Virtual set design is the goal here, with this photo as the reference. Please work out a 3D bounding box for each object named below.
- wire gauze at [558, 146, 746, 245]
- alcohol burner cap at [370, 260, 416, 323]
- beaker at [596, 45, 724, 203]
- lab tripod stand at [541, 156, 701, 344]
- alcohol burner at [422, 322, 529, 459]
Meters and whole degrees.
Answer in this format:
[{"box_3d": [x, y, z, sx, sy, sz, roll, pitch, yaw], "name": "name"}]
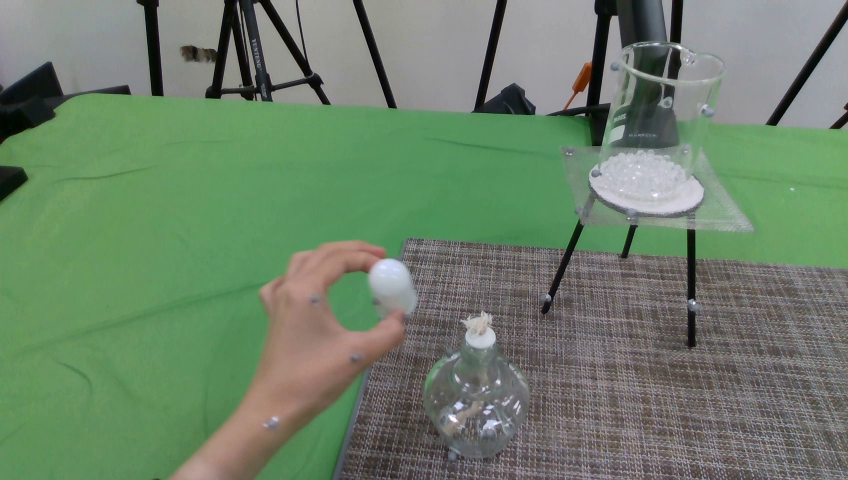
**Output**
[{"box_3d": [0.175, -0.042, 0.482, 0.125, 0.011, 0.120, 4, 40, 0], "name": "wire gauze"}, {"box_3d": [-0.023, 0.033, 0.412, 0.034, 0.048, 0.033, 0, 58, 1], "name": "alcohol burner cap"}, {"box_3d": [0.174, -0.087, 0.458, 0.073, 0.101, 0.084, 29, 46, 31], "name": "beaker"}, {"box_3d": [0.181, 0.007, 0.525, 0.148, 0.132, 0.147, 1, 38, 0], "name": "lab tripod stand"}, {"box_3d": [0.037, 0.099, 0.426, 0.078, 0.120, 0.077, 0, 40, 0], "name": "alcohol burner"}]
